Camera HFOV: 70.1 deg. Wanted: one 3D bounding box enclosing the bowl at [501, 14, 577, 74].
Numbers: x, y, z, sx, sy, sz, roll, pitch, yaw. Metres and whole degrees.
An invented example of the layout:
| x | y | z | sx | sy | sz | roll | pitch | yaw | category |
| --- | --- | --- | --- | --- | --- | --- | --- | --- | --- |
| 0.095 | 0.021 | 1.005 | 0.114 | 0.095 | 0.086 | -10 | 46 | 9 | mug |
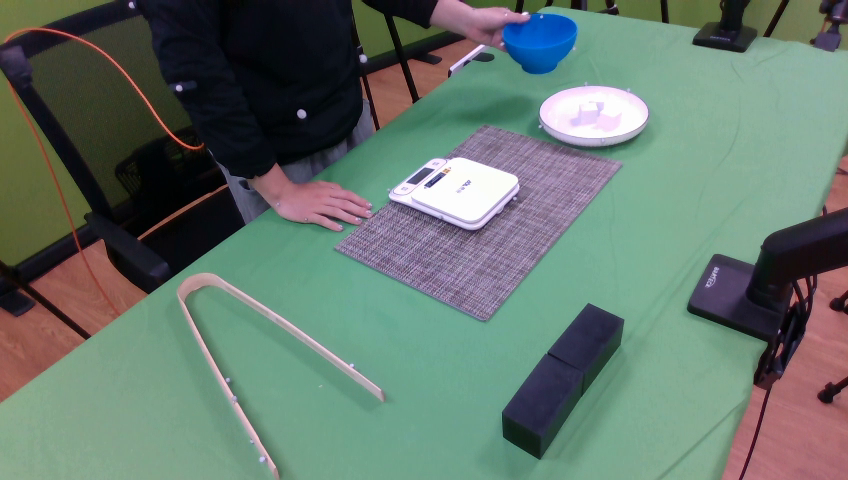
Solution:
| x | y | z | sx | sy | sz | roll | pitch | yaw | category |
| --- | --- | --- | --- | --- | --- | --- | --- | --- | --- |
| 0.234 | -0.391 | 1.231 | 0.151 | 0.077 | 0.150 | -5 | 44 | 6 | bowl |

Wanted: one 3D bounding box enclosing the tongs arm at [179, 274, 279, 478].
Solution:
| x | y | z | sx | sy | sz | roll | pitch | yaw | category |
| --- | --- | --- | --- | --- | --- | --- | --- | --- | --- |
| -0.260 | 0.161 | 0.807 | 0.051 | 0.026 | 0.381 | -29 | 44 | -25 | tongs arm |

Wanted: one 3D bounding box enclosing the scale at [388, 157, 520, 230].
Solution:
| x | y | z | sx | sy | sz | roll | pitch | yaw | category |
| --- | --- | --- | --- | --- | --- | --- | --- | --- | --- |
| 0.050 | -0.090 | 1.052 | 0.199 | 0.032 | 0.149 | 24 | 49 | 31 | scale |

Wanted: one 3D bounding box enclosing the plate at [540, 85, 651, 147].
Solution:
| x | y | z | sx | sy | sz | roll | pitch | yaw | category |
| --- | --- | --- | --- | --- | --- | --- | --- | --- | --- |
| 0.333 | -0.239 | 1.186 | 0.207 | 0.039 | 0.206 | -4 | 41 | 4 | plate |

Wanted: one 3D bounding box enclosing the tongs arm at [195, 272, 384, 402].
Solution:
| x | y | z | sx | sy | sz | roll | pitch | yaw | category |
| --- | --- | --- | --- | --- | --- | --- | --- | --- | --- |
| -0.199 | 0.125 | 0.847 | 0.384 | 0.028 | 0.028 | 25 | 53 | 32 | tongs arm |
